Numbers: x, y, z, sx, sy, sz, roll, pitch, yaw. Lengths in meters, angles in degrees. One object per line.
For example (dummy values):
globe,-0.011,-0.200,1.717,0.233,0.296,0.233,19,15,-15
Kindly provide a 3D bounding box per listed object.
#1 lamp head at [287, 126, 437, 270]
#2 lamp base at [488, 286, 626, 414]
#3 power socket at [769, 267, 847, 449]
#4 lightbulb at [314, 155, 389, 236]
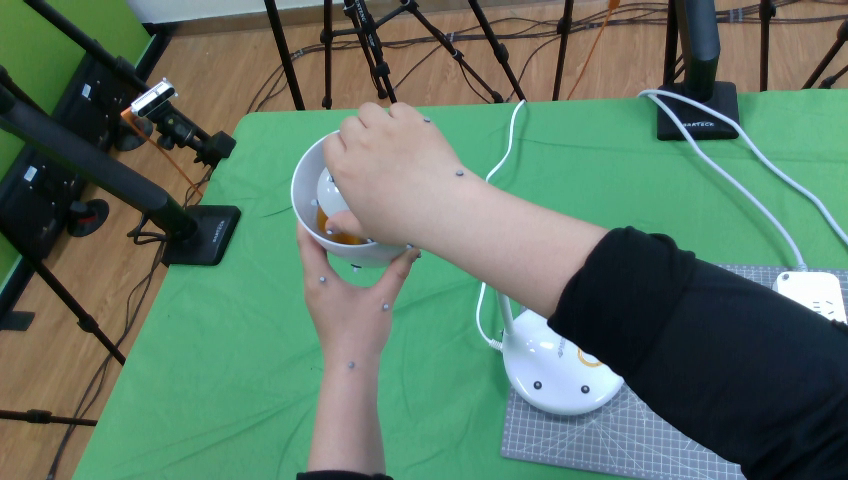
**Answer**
lamp head,-0.046,-0.023,0.534,0.112,0.124,0.111,-4,66,9
lamp base,0.150,0.109,0.739,0.178,0.182,0.159,-4,56,18
power socket,0.463,0.131,0.722,0.072,0.033,0.225,2,57,17
lightbulb,-0.055,-0.030,0.507,0.059,0.108,0.059,-2,71,6
